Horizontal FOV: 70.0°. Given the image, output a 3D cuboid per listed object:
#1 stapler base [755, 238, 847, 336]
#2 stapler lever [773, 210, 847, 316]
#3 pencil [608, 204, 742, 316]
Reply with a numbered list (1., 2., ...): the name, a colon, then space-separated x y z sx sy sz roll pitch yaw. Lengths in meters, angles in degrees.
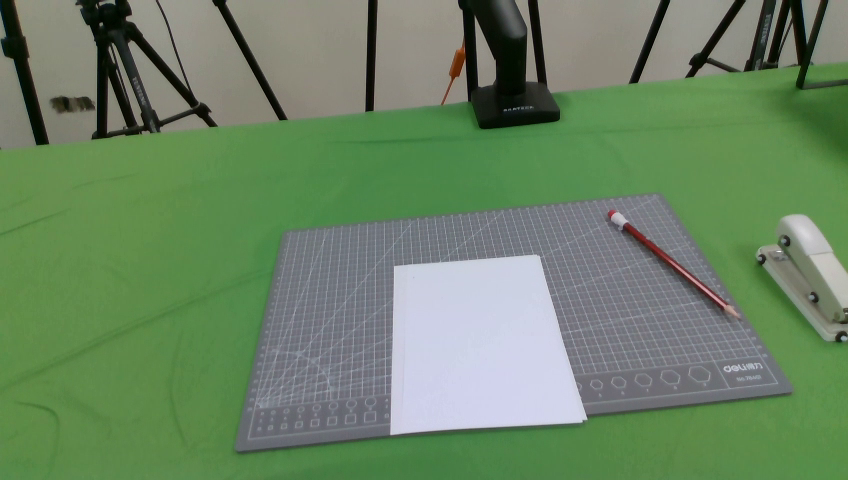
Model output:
1. stapler base: 0.362 0.035 0.569 0.041 0.025 0.129 -9 39 0
2. stapler lever: 0.361 0.016 0.552 0.027 0.040 0.117 -9 38 0
3. pencil: 0.247 0.016 0.613 0.012 0.012 0.192 -18 40 -15
